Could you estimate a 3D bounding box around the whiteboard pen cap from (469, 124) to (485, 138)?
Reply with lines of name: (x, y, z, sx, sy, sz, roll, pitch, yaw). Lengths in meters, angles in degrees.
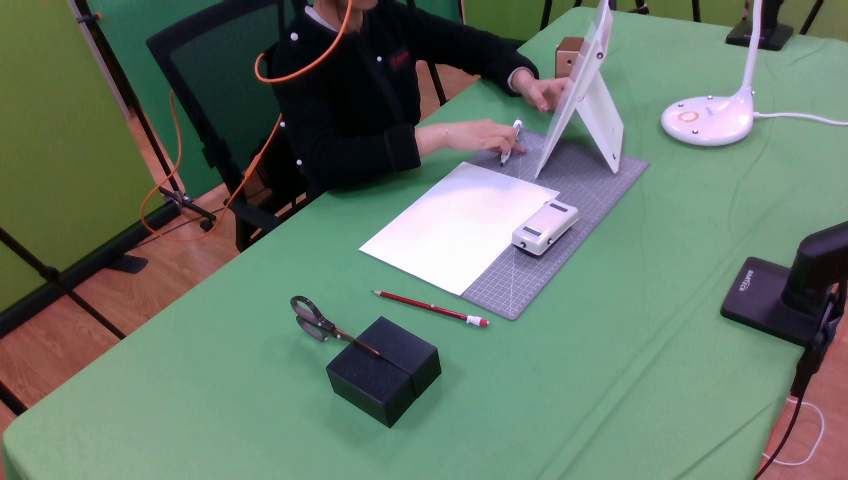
whiteboard pen cap: (0.107, -0.220, 1.224, 0.033, 0.018, 0.018, -37, 47, -24)

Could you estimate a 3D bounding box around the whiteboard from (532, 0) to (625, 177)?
whiteboard: (0.320, -0.258, 1.050, 0.144, 0.306, 0.217, 21, 45, 5)

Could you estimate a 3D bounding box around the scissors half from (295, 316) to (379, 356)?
scissors half: (-0.119, 0.131, 0.813, 0.174, 0.040, 0.013, 9, 34, 45)

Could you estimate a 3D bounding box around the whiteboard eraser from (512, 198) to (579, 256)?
whiteboard eraser: (0.191, -0.019, 0.949, 0.055, 0.042, 0.113, 26, 51, 36)

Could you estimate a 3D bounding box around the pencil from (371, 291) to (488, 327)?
pencil: (0.003, 0.097, 0.877, 0.193, 0.012, 0.012, 13, 45, 26)

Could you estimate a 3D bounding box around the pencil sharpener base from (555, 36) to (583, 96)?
pencil sharpener base: (0.317, -0.371, 1.290, 0.061, 0.107, 0.076, 10, 44, 22)

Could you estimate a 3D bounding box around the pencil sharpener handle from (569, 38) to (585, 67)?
pencil sharpener handle: (0.332, -0.413, 1.318, 0.036, 0.068, 0.030, 19, 46, 13)

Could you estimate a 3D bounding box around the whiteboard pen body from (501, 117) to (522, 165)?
whiteboard pen body: (0.168, -0.191, 1.168, 0.017, 0.017, 0.140, 9, 50, 20)

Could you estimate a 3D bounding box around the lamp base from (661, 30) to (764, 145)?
lamp base: (0.535, -0.287, 1.096, 0.179, 0.181, 0.159, -10, 40, -4)

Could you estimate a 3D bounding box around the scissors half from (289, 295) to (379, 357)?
scissors half: (-0.122, 0.114, 0.803, 0.174, 0.040, 0.013, 26, 50, 32)
